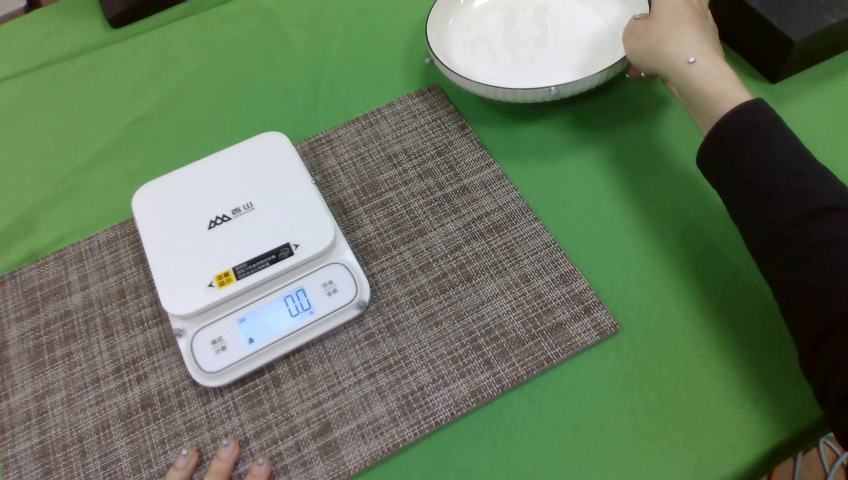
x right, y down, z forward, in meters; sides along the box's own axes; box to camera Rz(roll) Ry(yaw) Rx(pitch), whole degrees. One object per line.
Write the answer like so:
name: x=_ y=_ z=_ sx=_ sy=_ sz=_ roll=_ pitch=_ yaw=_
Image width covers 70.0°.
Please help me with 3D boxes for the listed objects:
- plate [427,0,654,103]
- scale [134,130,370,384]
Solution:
plate: x=0.108 y=-0.200 z=0.578 sx=0.207 sy=0.039 sz=0.205 roll=-5 pitch=54 yaw=8
scale: x=-0.146 y=0.004 z=0.501 sx=0.149 sy=0.032 sz=0.199 roll=-27 pitch=60 yaw=-9
